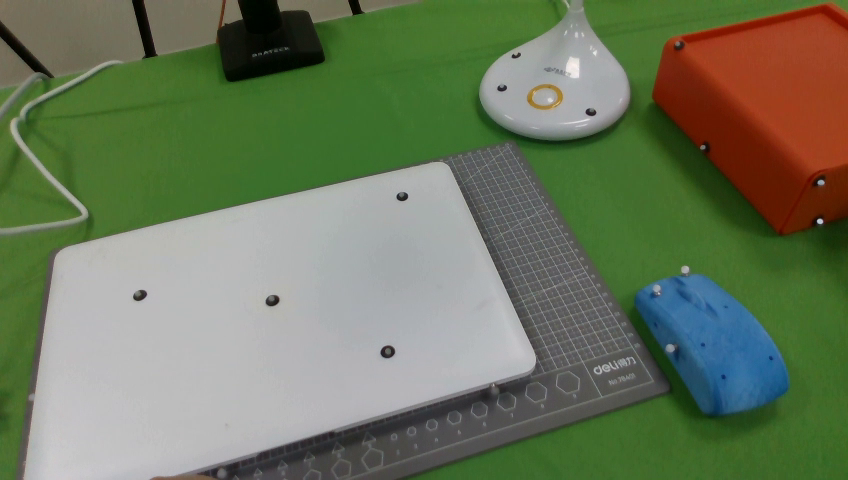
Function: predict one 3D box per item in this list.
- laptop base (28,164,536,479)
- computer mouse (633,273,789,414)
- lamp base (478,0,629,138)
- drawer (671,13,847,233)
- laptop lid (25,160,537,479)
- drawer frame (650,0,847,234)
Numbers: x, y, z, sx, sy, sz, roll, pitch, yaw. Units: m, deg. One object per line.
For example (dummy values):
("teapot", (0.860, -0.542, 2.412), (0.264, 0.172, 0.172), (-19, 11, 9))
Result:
("laptop base", (-0.116, 0.056, 0.485), (0.355, 0.023, 0.233), (-14, 52, -8))
("computer mouse", (0.205, 0.068, 0.439), (0.063, 0.041, 0.116), (-15, 45, -6))
("lamp base", (0.137, -0.224, 0.606), (0.160, 0.182, 0.178), (11, 48, 14))
("drawer", (0.361, -0.121, 0.565), (0.195, 0.074, 0.209), (-16, 49, -9))
("laptop lid", (-0.116, 0.050, 0.475), (0.357, 0.013, 0.239), (-13, 51, -7))
("drawer frame", (0.360, -0.123, 0.566), (0.202, 0.083, 0.211), (-16, 49, -9))
